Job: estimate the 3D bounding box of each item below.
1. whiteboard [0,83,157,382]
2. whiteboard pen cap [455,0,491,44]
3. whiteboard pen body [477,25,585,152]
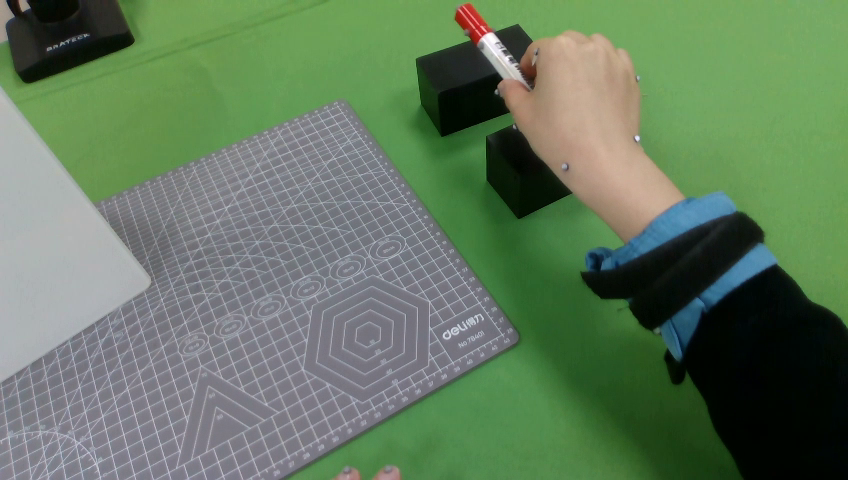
[{"bbox_3d":[-0.368,-0.047,0.387,0.217,0.308,0.142,-35,40,-18],"label":"whiteboard"},{"bbox_3d":[0.038,-0.165,0.460,0.017,0.017,0.032,-28,74,-13],"label":"whiteboard pen cap"},{"bbox_3d":[0.070,-0.120,0.444,0.017,0.017,0.139,-31,74,-15],"label":"whiteboard pen body"}]
